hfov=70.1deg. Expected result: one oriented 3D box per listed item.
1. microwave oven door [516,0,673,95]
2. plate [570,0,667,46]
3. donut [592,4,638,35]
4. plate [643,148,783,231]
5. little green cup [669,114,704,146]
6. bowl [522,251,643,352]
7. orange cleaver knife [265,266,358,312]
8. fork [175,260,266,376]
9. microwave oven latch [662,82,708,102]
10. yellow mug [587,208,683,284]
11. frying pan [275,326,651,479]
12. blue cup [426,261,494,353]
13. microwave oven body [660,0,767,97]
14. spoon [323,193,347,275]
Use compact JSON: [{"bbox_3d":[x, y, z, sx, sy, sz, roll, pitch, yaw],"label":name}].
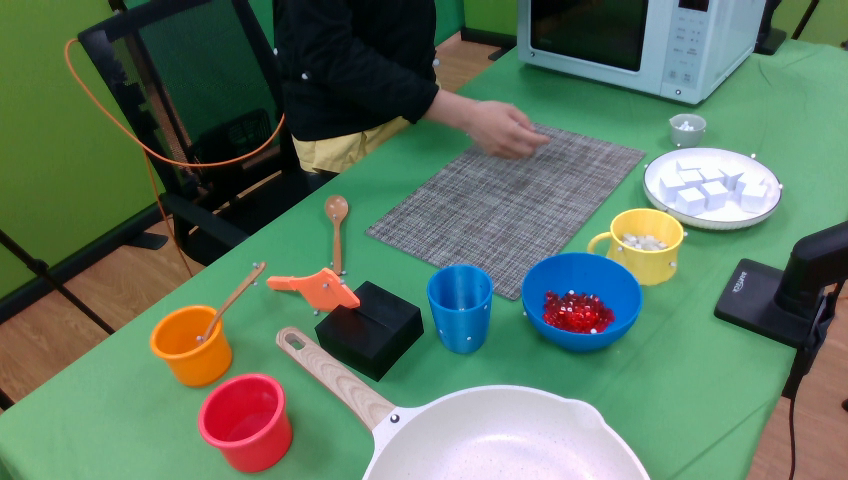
[{"bbox_3d":[0.344,-0.458,1.256,0.353,0.245,0.039,26,51,33],"label":"microwave oven door"},{"bbox_3d":[0.436,-0.488,1.368,0.209,0.038,0.208,-5,40,4],"label":"plate"},{"bbox_3d":[0.428,-0.493,1.352,0.099,0.048,0.098,-7,41,6],"label":"donut"},{"bbox_3d":[0.464,-0.080,0.986,0.207,0.039,0.206,-4,41,4],"label":"plate"},{"bbox_3d":[0.485,-0.203,1.123,0.061,0.039,0.061,-5,40,5],"label":"little green cup"},{"bbox_3d":[0.204,0.093,0.792,0.151,0.077,0.150,-4,40,4],"label":"bowl"},{"bbox_3d":[-0.164,0.073,0.864,0.210,0.077,0.012,-6,30,50],"label":"orange cleaver knife"},{"bbox_3d":[-0.268,0.103,0.792,0.207,0.019,0.028,-51,41,16],"label":"fork"},{"bbox_3d":[0.518,-0.299,1.203,0.078,0.029,0.030,29,53,36],"label":"microwave oven latch"},{"bbox_3d":[0.305,0.009,0.884,0.131,0.064,0.099,-4,41,5],"label":"yellow mug"},{"bbox_3d":[0.004,0.229,0.641,0.484,0.103,0.308,34,54,28],"label":"frying pan"},{"bbox_3d":[0.049,0.095,0.791,0.092,0.100,0.092,-3,42,3],"label":"blue cup"},{"bbox_3d":[0.473,-0.516,1.313,0.438,0.261,0.327,26,51,34],"label":"microwave oven body"},{"bbox_3d":[-0.148,-0.014,1.008,0.042,0.022,0.192,1,40,-9],"label":"spoon"}]
